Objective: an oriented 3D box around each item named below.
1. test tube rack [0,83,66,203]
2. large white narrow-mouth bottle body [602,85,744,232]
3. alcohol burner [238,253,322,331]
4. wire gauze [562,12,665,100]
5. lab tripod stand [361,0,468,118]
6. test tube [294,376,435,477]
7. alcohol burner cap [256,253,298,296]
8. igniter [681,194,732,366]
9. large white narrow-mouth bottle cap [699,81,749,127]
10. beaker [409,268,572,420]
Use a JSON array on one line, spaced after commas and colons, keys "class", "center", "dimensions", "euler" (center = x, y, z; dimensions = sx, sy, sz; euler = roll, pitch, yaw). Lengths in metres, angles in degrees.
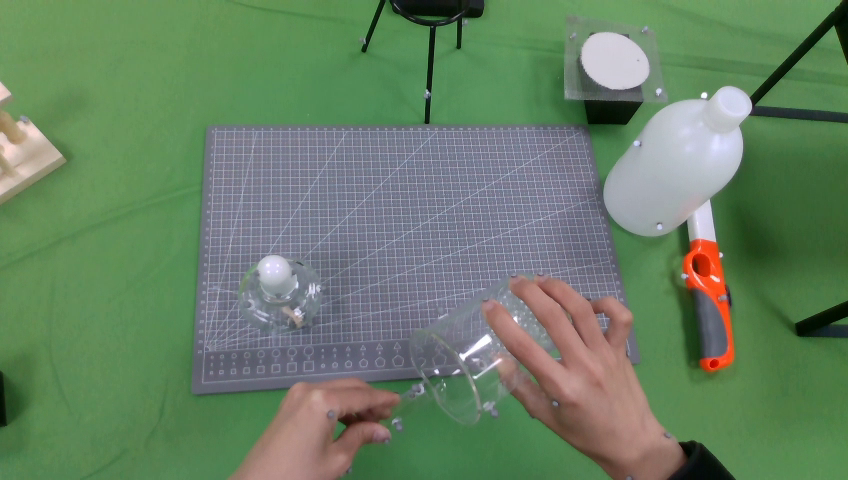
[{"class": "test tube rack", "center": [-0.483, -0.048, 0.571], "dimensions": [0.066, 0.085, 0.242], "euler": [43, 68, 11]}, {"class": "large white narrow-mouth bottle body", "center": [0.264, -0.089, 0.631], "dimensions": [0.102, 0.195, 0.101], "euler": [3, 66, -5]}, {"class": "alcohol burner", "center": [-0.134, 0.042, 0.562], "dimensions": [0.078, 0.120, 0.077], "euler": [4, 65, -8]}, {"class": "wire gauze", "center": [0.225, -0.221, 0.730], "dimensions": [0.122, 0.011, 0.124], "euler": [5, 66, -5]}, {"class": "lab tripod stand", "center": [-0.002, -0.236, 0.691], "dimensions": [0.149, 0.132, 0.147], "euler": [3, 67, -8]}, {"class": "test tube", "center": [-0.050, 0.149, 0.476], "dimensions": [0.150, 0.017, 0.017], "euler": [-38, 71, 22]}, {"class": "alcohol burner cap", "center": [-0.130, 0.029, 0.529], "dimensions": [0.034, 0.048, 0.033], "euler": [1, 72, -4]}, {"class": "igniter", "center": [0.314, 0.008, 0.688], "dimensions": [0.057, 0.025, 0.274], "euler": [11, 66, -17]}, {"class": "large white narrow-mouth bottle cap", "center": [0.273, -0.124, 0.554], "dimensions": [0.038, 0.024, 0.037], "euler": [3, 66, -6]}, {"class": "beaker", "center": [0.050, 0.071, 0.438], "dimensions": [0.100, 0.084, 0.073], "euler": [-29, 74, -27]}]
